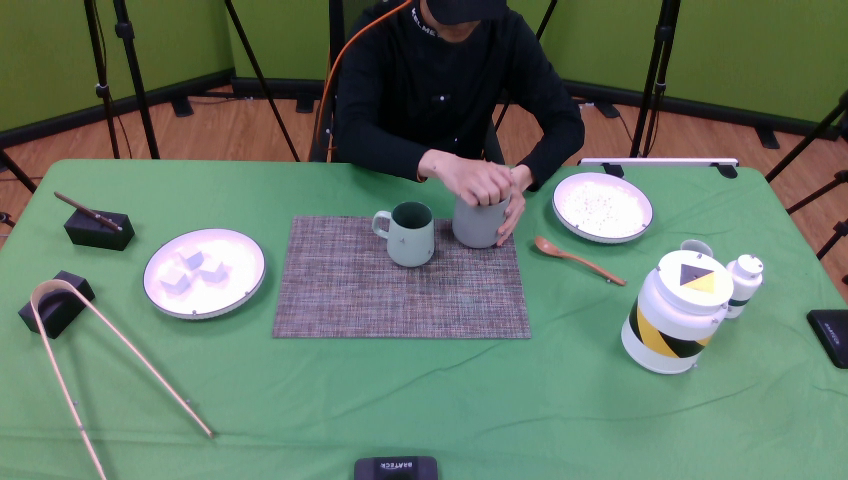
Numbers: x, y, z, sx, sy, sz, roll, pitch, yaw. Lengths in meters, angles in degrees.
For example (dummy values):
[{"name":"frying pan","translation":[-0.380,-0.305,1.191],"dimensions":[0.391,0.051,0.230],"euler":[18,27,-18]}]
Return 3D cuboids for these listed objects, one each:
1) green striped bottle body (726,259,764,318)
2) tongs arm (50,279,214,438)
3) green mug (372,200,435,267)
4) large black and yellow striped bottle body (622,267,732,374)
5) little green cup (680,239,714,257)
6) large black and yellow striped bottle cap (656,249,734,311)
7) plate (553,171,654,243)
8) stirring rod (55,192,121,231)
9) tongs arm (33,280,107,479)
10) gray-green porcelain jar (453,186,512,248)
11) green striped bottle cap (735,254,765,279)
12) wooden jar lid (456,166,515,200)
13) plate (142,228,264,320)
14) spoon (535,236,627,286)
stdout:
[{"name":"green striped bottle body","translation":[0.563,0.081,1.089],"dimensions":[0.063,0.120,0.063],"euler":[2,46,-2]},{"name":"tongs arm","translation":[-0.459,0.178,0.949],"dimensions":[0.386,0.028,0.028],"euler":[37,60,17]},{"name":"green mug","translation":[-0.040,-0.015,1.146],"dimensions":[0.125,0.105,0.092],"euler":[16,48,12]},{"name":"large black and yellow striped bottle body","translation":[0.415,0.119,0.997],"dimensions":[0.131,0.185,0.130],"euler":[2,46,-2]},{"name":"little green cup","translation":[0.530,0.033,1.190],"dimensions":[0.061,0.039,0.061],"euler":[2,47,-2]},{"name":"large black and yellow striped bottle cap","translation":[0.419,0.061,0.938],"dimensions":[0.115,0.019,0.114],"euler":[2,47,-2]},{"name":"plate","translation":[0.373,-0.066,1.275],"dimensions":[0.209,0.038,0.208],"euler":[2,46,-2]},{"name":"stirring rod","translation":[-0.632,-0.055,1.138],"dimensions":[0.175,0.014,0.006],"euler":[24,50,19]},{"name":"tongs arm","translation":[-0.517,0.214,0.909],"dimensions":[0.051,0.026,0.383],"euler":[-29,63,-26]},{"name":"gray-green porcelain jar","translation":[0.110,-0.056,1.179],"dimensions":[0.106,0.127,0.105],"euler":[2,47,-2]},{"name":"green striped bottle cap","translation":[0.566,0.046,1.051],"dimensions":[0.044,0.020,0.044],"euler":[0,45,0]},{"name":"wooden jar lid","translation":[0.114,-0.105,1.127],"dimensions":[0.108,0.021,0.108],"euler":[-3,34,2]},{"name":"plate","translation":[-0.394,0.064,1.095],"dimensions":[0.208,0.039,0.206],"euler":[2,46,-2]},{"name":"spoon","translation":[0.303,0.041,1.178],"dimensions":[0.193,0.022,0.041],"euler":[26,34,20]}]
